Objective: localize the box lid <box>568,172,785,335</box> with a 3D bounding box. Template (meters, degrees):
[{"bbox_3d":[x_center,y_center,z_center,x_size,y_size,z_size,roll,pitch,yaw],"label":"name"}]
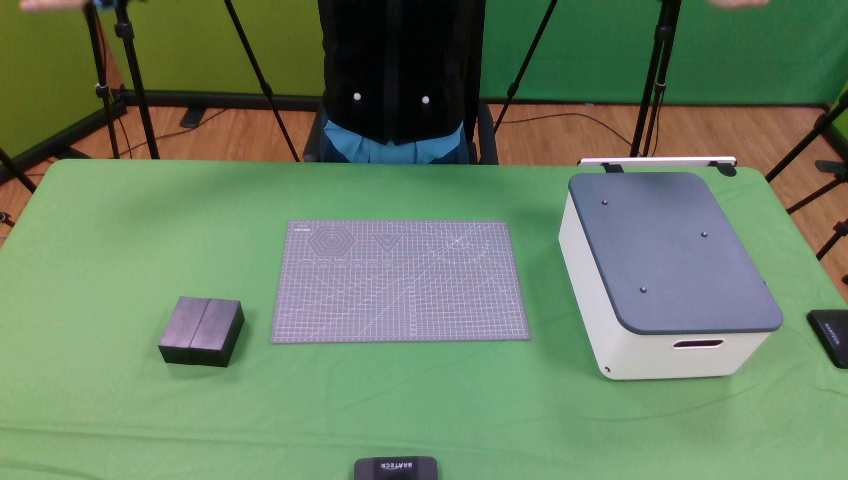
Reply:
[{"bbox_3d":[0.407,0.007,1.019,0.263,0.015,0.369,-1,46,-5],"label":"box lid"}]

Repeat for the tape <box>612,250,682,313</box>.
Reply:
[{"bbox_3d":[0.412,0.076,1.123,0.117,0.053,0.116,4,48,-4],"label":"tape"}]

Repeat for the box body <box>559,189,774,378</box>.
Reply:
[{"bbox_3d":[0.405,0.057,1.074,0.254,0.161,0.361,-2,46,-5],"label":"box body"}]
